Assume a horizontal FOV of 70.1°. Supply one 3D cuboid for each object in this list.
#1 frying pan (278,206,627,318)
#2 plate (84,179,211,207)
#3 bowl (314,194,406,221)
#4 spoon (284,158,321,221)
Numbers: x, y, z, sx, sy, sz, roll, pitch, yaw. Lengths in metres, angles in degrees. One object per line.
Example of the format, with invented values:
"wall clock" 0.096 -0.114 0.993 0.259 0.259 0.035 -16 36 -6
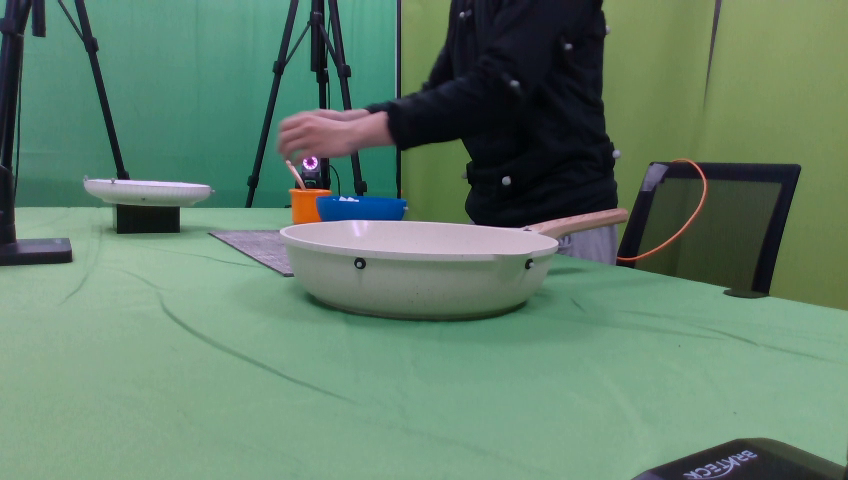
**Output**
"frying pan" 0.079 0.002 0.705 0.490 0.102 0.305 -12 15 -33
"plate" -0.495 -0.085 1.093 0.208 0.039 0.207 4 7 0
"bowl" -0.105 -0.032 0.991 0.151 0.077 0.151 2 7 0
"spoon" -0.269 -0.113 1.336 0.042 0.193 0.021 -3 -35 -43
